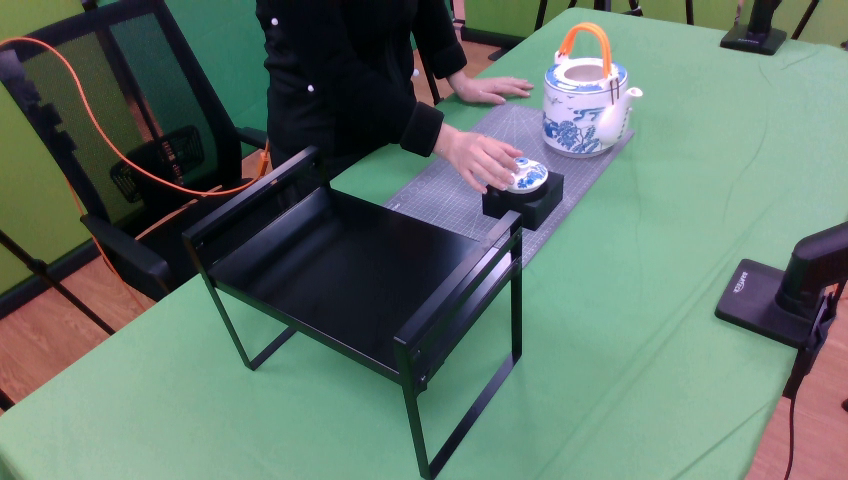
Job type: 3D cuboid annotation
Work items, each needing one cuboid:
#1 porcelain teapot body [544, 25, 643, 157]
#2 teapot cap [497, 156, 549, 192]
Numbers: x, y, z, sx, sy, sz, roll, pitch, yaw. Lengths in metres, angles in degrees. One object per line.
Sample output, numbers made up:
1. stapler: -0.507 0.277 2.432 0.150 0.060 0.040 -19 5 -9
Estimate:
1. porcelain teapot body: 0.306 -0.258 1.070 0.146 0.226 0.203 -26 44 -20
2. teapot cap: 0.162 -0.113 0.986 0.085 0.044 0.085 -2 42 2
